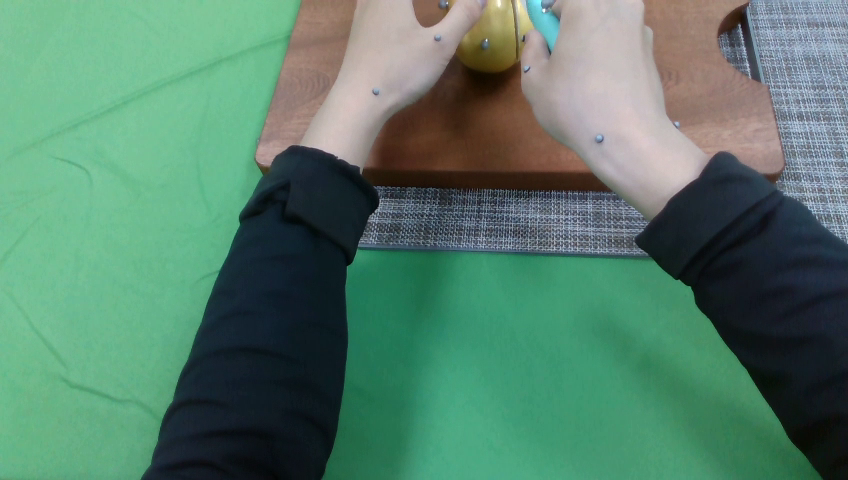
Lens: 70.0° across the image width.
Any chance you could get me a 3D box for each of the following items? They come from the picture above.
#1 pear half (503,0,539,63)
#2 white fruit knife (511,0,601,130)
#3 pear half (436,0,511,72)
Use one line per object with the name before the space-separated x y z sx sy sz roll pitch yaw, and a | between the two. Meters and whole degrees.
pear half | 0.074 -0.185 0.478 0.031 0.089 0.069 -15 57 -5
white fruit knife | 0.071 -0.161 0.419 0.016 0.027 0.205 -19 62 -5
pear half | 0.035 -0.183 0.469 0.056 0.111 0.075 -18 56 -1
